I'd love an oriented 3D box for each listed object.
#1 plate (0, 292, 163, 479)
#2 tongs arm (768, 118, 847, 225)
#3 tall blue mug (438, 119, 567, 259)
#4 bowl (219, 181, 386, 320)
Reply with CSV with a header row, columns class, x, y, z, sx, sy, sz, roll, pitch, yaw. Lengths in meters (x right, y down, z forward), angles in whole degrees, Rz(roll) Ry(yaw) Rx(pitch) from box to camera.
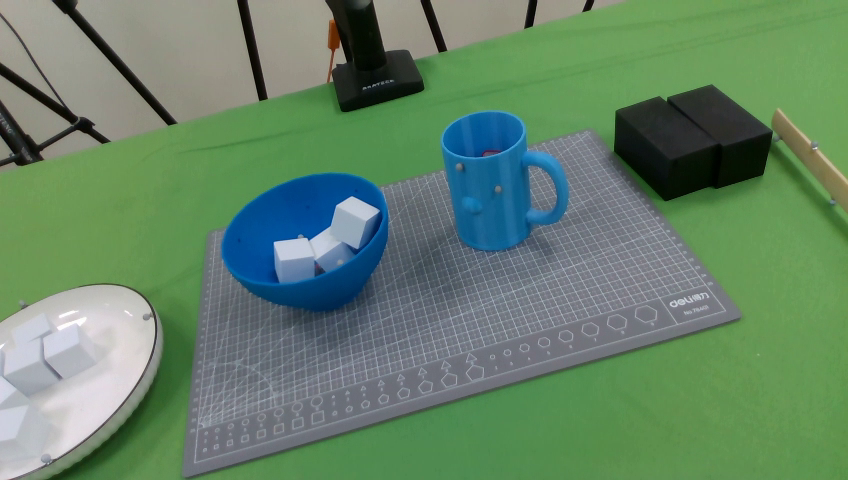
class,x,y,z,sx,sy,sz,roll,pitch,yaw
plate,-0.328,0.133,0.529,0.209,0.038,0.207,-7,41,6
tongs arm,0.388,0.008,0.479,0.051,0.027,0.380,-6,42,2
tall blue mug,0.074,-0.048,0.566,0.107,0.109,0.077,-8,41,7
bowl,-0.101,0.021,0.559,0.151,0.077,0.150,-8,41,7
